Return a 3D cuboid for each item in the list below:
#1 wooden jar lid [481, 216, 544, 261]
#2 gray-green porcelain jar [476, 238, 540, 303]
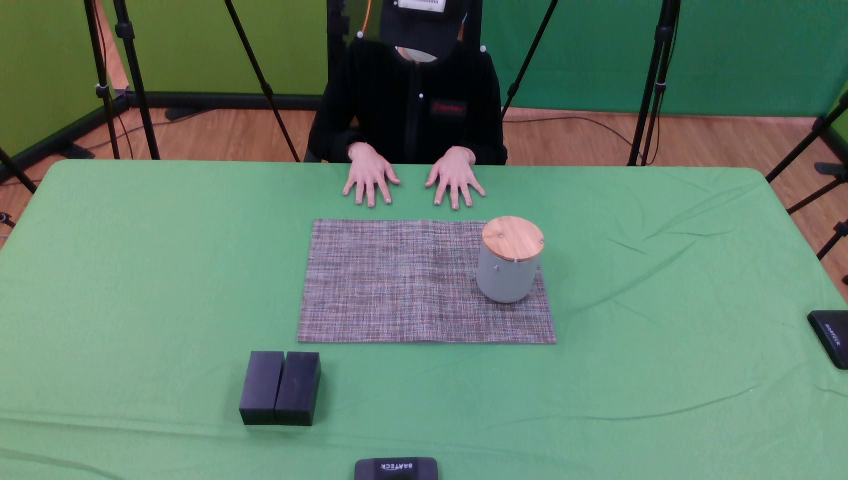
[{"bbox_3d":[0.152,0.001,1.045,0.108,0.021,0.107,4,44,-3],"label":"wooden jar lid"},{"bbox_3d":[0.149,0.044,1.090,0.106,0.127,0.105,2,46,-2],"label":"gray-green porcelain jar"}]
